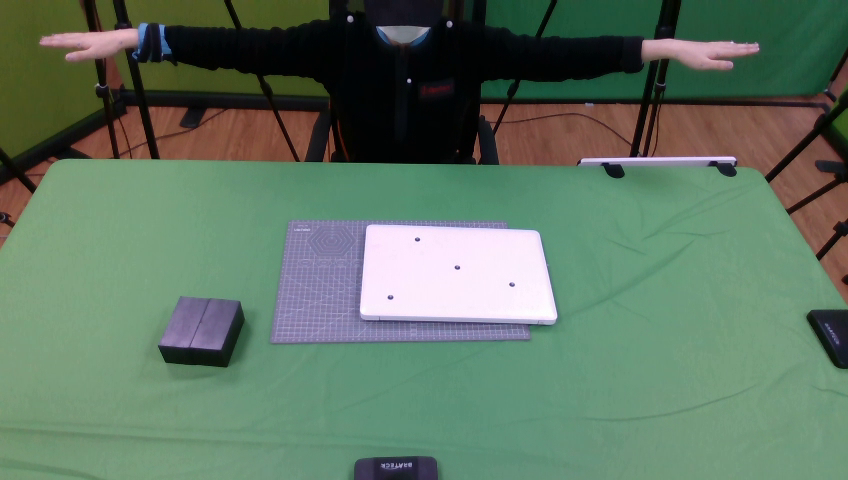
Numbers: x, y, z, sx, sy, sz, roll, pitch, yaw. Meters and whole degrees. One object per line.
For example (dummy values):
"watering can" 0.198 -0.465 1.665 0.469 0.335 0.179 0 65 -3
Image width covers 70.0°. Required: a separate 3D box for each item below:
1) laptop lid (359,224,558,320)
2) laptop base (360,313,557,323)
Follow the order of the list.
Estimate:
"laptop lid" 0.061 0.053 1.137 0.357 0.013 0.240 3 44 -2
"laptop base" 0.061 0.063 1.144 0.354 0.023 0.234 2 43 -3
